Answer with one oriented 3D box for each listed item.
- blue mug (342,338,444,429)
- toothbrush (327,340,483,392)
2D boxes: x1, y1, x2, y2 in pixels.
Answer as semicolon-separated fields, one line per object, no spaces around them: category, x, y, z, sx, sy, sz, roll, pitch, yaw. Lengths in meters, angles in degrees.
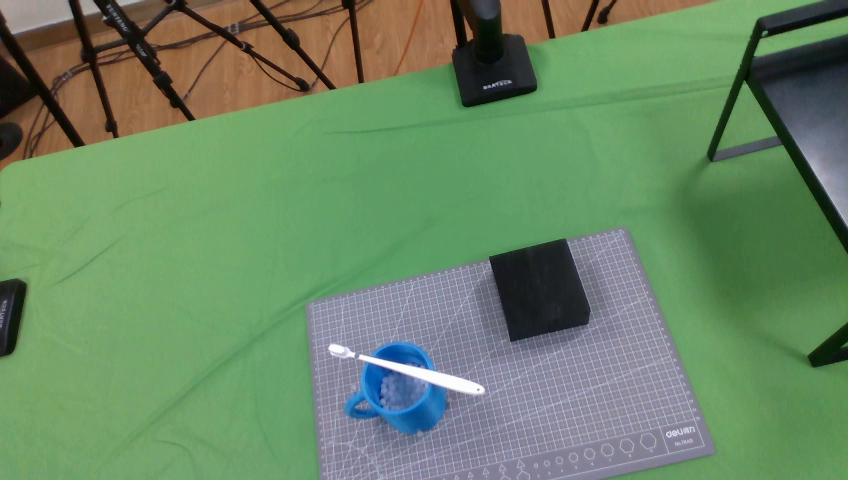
blue mug;-0.038;0.175;0.706;0.116;0.107;0.081;-22;61;-1
toothbrush;-0.024;0.136;0.657;0.181;0.017;0.014;12;61;16
